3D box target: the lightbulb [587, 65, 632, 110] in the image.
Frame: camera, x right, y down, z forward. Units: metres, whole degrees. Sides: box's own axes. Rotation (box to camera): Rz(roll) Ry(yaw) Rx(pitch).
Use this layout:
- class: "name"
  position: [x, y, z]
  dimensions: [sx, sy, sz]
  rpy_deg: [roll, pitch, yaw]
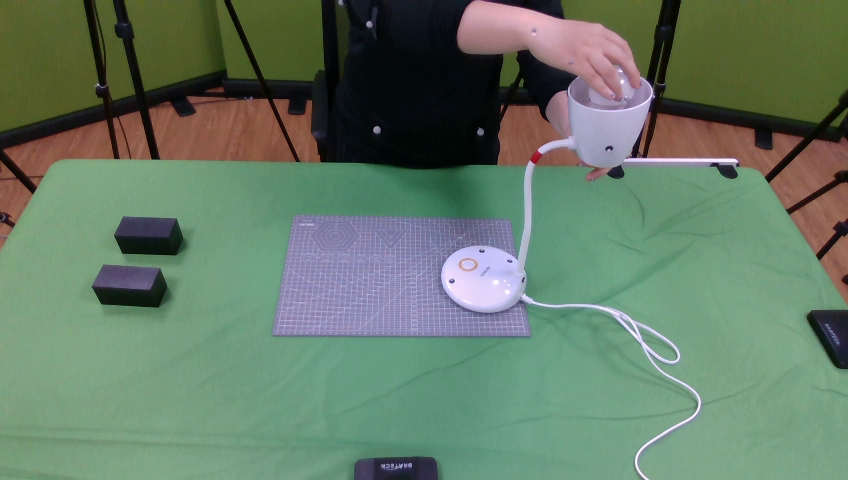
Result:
- class: "lightbulb"
  position: [0.254, -0.189, 0.838]
  dimensions: [0.059, 0.108, 0.059]
  rpy_deg: [-5, 40, 4]

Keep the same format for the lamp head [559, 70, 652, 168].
- class: "lamp head"
  position: [0.251, -0.163, 0.859]
  dimensions: [0.112, 0.123, 0.111]
  rpy_deg: [0, 43, 0]

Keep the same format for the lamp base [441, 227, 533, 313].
- class: "lamp base"
  position: [0.126, 0.022, 1.071]
  dimensions: [0.179, 0.181, 0.160]
  rpy_deg: [23, 49, 14]
